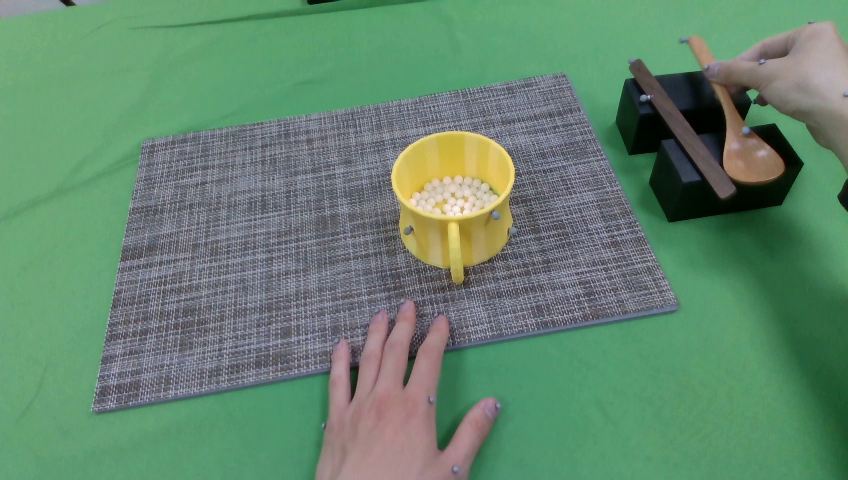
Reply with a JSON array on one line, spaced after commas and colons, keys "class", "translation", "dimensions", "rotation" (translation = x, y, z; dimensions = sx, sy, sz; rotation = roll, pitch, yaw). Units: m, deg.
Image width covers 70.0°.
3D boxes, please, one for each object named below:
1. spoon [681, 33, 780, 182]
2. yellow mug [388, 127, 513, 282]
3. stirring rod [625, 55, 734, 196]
[{"class": "spoon", "translation": [0.251, -0.120, 0.513], "dimensions": [0.041, 0.022, 0.192], "rotation": [-15, 54, 18]}, {"class": "yellow mug", "translation": [0.023, -0.025, 0.497], "dimensions": [0.100, 0.064, 0.129], "rotation": [-3, 53, 3]}, {"class": "stirring rod", "translation": [0.212, -0.103, 0.515], "dimensions": [0.014, 0.006, 0.174], "rotation": [-36, 48, 24]}]
